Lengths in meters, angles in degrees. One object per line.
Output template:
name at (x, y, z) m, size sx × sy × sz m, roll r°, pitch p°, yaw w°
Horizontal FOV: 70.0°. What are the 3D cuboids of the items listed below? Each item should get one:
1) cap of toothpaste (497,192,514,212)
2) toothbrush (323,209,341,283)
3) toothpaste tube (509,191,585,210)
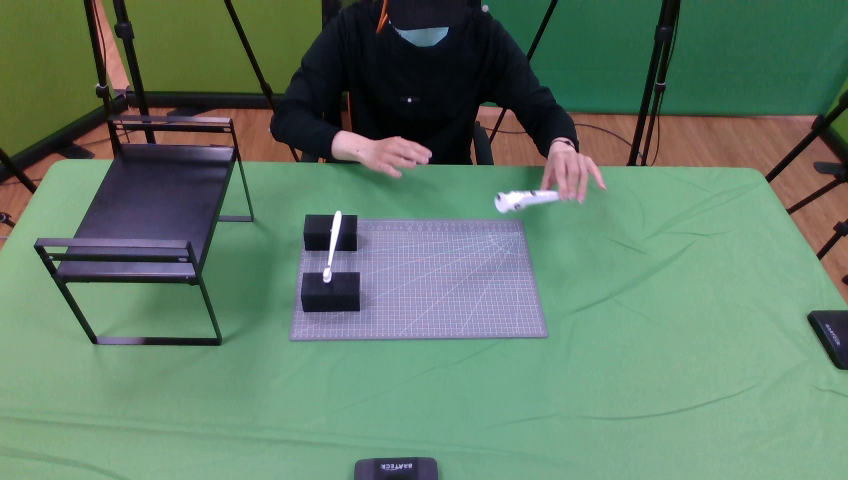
cap of toothpaste at (0.146, -0.069, 1.086) m, size 0.011 × 0.037 × 0.037 m, roll -13°, pitch 47°, yaw -36°
toothbrush at (-0.167, 0.005, 1.106) m, size 0.014 × 0.017 × 0.180 m, roll -5°, pitch 45°, yaw 7°
toothpaste tube at (0.219, -0.078, 1.121) m, size 0.165 × 0.055 × 0.034 m, roll -8°, pitch 90°, yaw -27°
